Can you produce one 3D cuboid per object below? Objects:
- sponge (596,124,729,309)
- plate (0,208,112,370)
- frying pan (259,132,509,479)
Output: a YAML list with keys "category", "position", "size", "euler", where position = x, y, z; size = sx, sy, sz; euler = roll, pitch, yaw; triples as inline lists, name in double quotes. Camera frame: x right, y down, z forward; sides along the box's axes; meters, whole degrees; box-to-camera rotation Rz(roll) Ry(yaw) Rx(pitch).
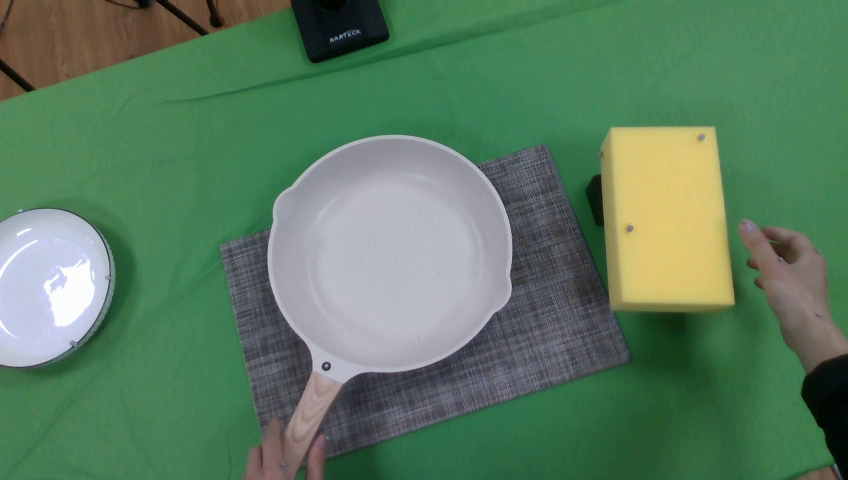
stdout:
- category: "sponge"
  position: [0.268, -0.027, 0.694]
  size: [0.118, 0.061, 0.205]
  euler: [-1, 75, 3]
- category: "plate"
  position: [-0.499, 0.063, 0.779]
  size: [0.207, 0.039, 0.206]
  euler: [-1, 75, 3]
- category: "frying pan"
  position: [-0.087, 0.101, 0.707]
  size: [0.306, 0.103, 0.486]
  euler: [23, 70, 10]
